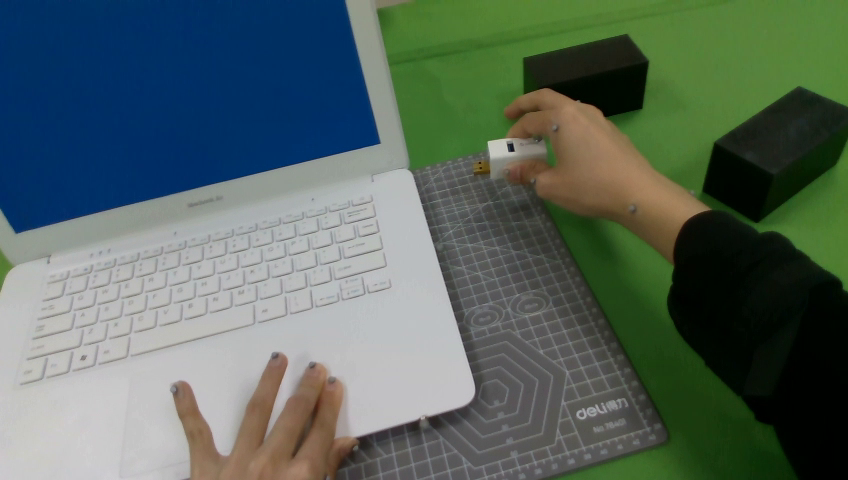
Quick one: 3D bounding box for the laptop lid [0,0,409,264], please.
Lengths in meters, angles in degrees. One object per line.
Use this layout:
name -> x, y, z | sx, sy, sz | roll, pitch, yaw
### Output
laptop lid -> -0.204, -0.114, 0.468 | 0.357, 0.244, 0.013 | -16, 33, -2

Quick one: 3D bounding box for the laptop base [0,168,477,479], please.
laptop base -> -0.157, 0.066, 0.452 | 0.354, 0.023, 0.233 | -14, 50, -3

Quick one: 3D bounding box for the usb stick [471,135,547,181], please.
usb stick -> 0.066, -0.063, 0.475 | 0.059, 0.027, 0.021 | -9, 49, 4
